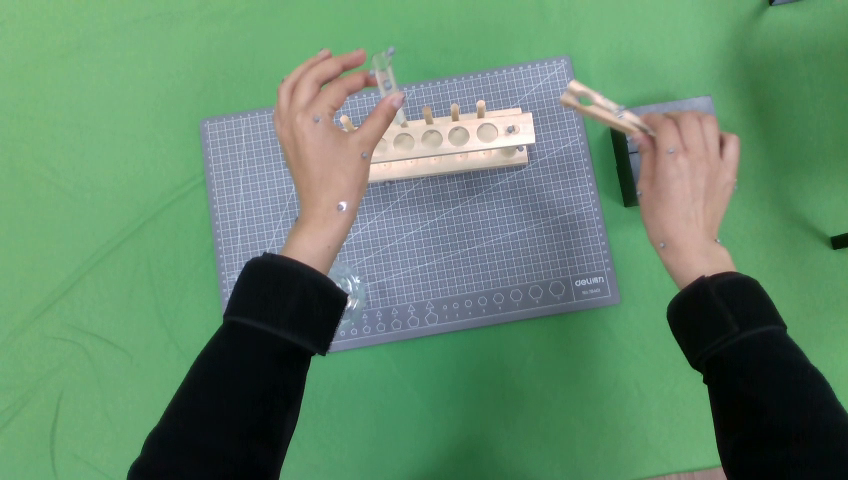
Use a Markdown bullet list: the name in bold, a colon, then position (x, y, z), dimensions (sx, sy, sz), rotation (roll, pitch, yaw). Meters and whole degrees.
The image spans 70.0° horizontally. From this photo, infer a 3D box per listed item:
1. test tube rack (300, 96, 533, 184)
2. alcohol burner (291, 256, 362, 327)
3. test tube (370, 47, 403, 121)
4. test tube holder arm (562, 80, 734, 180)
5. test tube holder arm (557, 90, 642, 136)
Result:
- **test tube rack**: position (-0.008, -0.117, 0.672), dimensions (0.242, 0.085, 0.066), rotation (-6, 82, 1)
- **alcohol burner**: position (-0.106, 0.053, 0.640), dimensions (0.078, 0.119, 0.077), rotation (0, 81, 1)
- **test tube**: position (-0.030, -0.129, 0.518), dimensions (0.017, 0.150, 0.017), rotation (0, 85, 2)
- **test tube holder arm**: position (0.211, -0.106, 0.576), dimensions (0.177, 0.015, 0.013), rotation (32, 90, 13)
- **test tube holder arm**: position (0.170, -0.123, 0.586), dimensions (0.087, 0.015, 0.010), rotation (26, 89, 13)
